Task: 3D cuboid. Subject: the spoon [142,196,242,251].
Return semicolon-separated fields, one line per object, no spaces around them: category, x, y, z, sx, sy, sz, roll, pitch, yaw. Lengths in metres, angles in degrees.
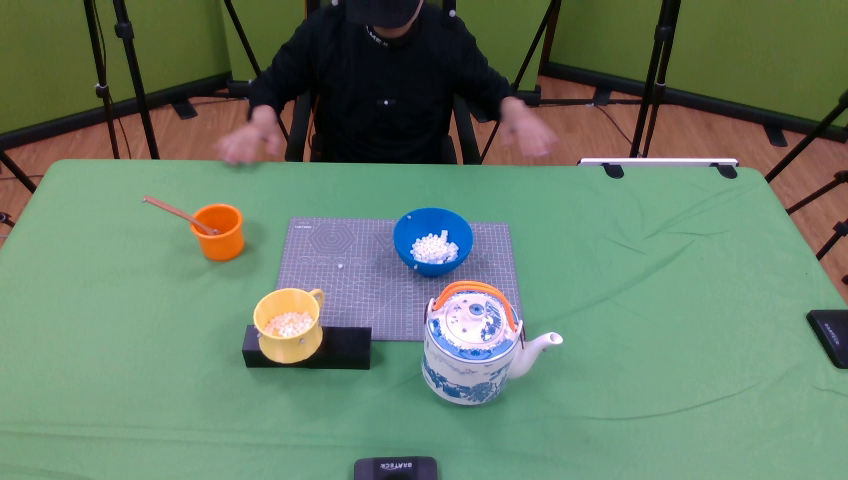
spoon;-0.421;-0.032;1.108;0.021;0.195;0.041;-32;40;28

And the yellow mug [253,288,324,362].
yellow mug;-0.205;0.124;0.963;0.099;0.064;0.130;27;49;21

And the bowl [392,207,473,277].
bowl;0.014;0.016;1.140;0.151;0.077;0.150;2;46;-2

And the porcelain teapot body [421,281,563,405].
porcelain teapot body;0.101;0.148;0.923;0.205;0.226;0.144;12;46;7

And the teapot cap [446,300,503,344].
teapot cap;0.076;0.115;0.898;0.085;0.044;0.084;4;45;-4
